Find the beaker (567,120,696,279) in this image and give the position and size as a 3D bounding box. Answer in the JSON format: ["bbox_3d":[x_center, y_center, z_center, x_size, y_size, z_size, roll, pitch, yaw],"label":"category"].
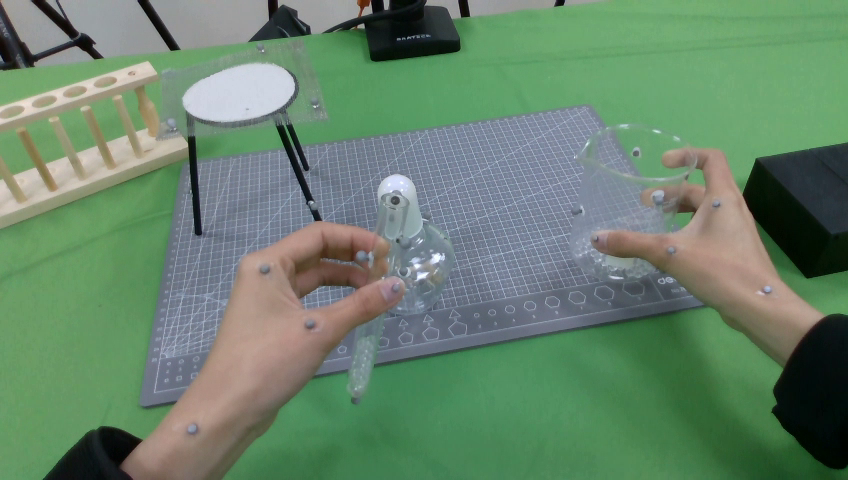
[{"bbox_3d":[0.147,-0.027,0.453,0.084,0.101,0.073,0,40,-1],"label":"beaker"}]

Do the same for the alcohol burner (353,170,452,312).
[{"bbox_3d":[-0.017,-0.002,0.459,0.078,0.120,0.077,-2,42,2],"label":"alcohol burner"}]

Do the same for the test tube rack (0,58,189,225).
[{"bbox_3d":[-0.370,-0.092,0.598,0.242,0.086,0.066,-27,49,-22],"label":"test tube rack"}]

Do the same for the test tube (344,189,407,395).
[{"bbox_3d":[-0.030,0.038,0.353,0.017,0.151,0.017,10,34,-6],"label":"test tube"}]

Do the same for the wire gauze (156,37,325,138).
[{"bbox_3d":[-0.149,-0.121,0.478,0.125,0.011,0.120,-14,45,-9],"label":"wire gauze"}]

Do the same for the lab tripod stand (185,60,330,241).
[{"bbox_3d":[-0.145,-0.074,0.526,0.148,0.133,0.147,-2,46,3],"label":"lab tripod stand"}]

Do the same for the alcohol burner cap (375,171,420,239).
[{"bbox_3d":[-0.021,-0.028,0.434,0.034,0.048,0.033,-3,46,3],"label":"alcohol burner cap"}]
